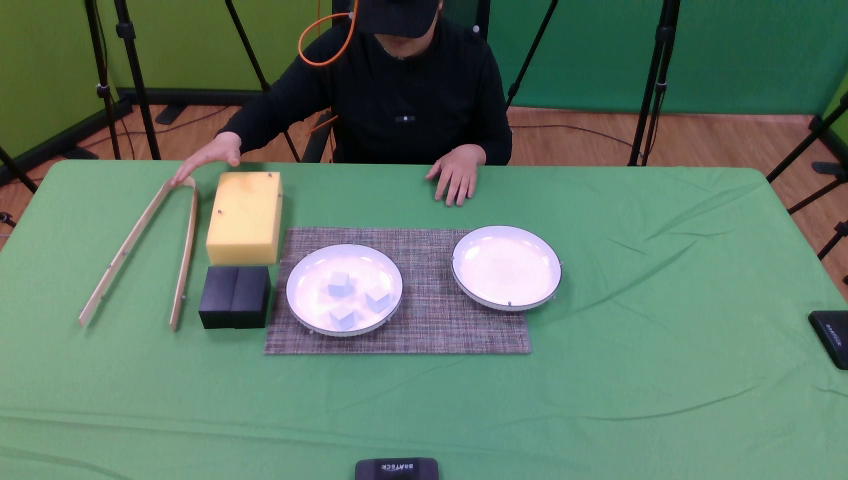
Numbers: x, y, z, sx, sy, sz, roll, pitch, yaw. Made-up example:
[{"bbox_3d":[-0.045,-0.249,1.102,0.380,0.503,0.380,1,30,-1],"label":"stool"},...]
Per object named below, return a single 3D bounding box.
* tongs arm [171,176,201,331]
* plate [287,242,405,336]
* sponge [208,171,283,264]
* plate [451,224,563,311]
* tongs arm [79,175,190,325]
[{"bbox_3d":[-0.453,0.010,1.151,0.028,0.028,0.385,-6,47,-6],"label":"tongs arm"},{"bbox_3d":[-0.138,0.090,1.085,0.208,0.039,0.206,2,46,-2],"label":"plate"},{"bbox_3d":[-0.346,-0.048,1.191,0.118,0.061,0.205,-2,46,-6],"label":"sponge"},{"bbox_3d":[0.154,0.053,1.140,0.209,0.038,0.208,2,47,-2],"label":"plate"},{"bbox_3d":[-0.534,0.005,1.145,0.051,0.026,0.382,6,45,0],"label":"tongs arm"}]
